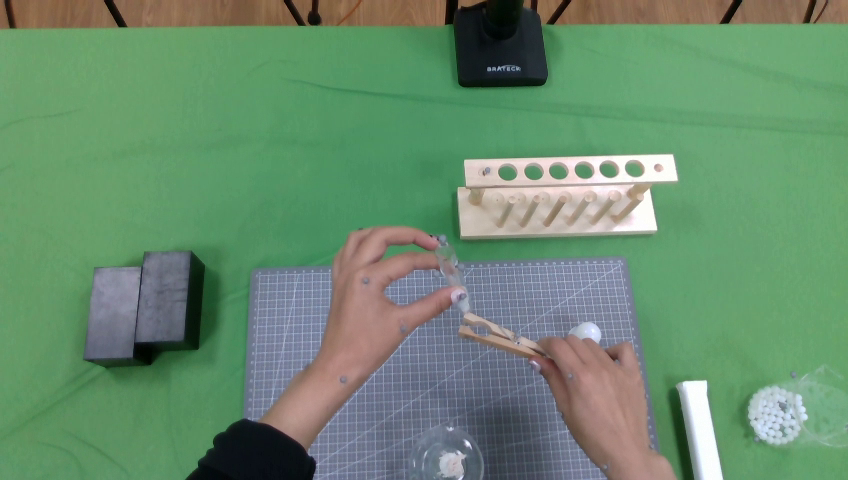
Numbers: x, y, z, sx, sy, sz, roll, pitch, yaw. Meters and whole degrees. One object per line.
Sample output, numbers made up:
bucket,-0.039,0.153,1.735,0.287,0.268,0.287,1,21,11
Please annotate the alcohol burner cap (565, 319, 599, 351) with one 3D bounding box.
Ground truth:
alcohol burner cap,0.182,0.106,0.685,0.034,0.048,0.033,1,71,-3

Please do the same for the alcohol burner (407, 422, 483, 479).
alcohol burner,0.022,0.218,0.597,0.078,0.120,0.077,1,68,-2

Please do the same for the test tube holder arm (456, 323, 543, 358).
test tube holder arm,0.075,0.100,0.601,0.087,0.015,0.010,15,68,6

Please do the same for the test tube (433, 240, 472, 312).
test tube,0.026,0.035,0.515,0.017,0.151,0.017,-4,67,9

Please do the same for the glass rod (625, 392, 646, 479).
glass rod,0.235,0.255,0.653,0.008,0.008,0.198,-2,70,-4

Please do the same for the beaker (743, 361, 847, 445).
beaker,0.397,0.177,0.645,0.074,0.101,0.083,11,69,1

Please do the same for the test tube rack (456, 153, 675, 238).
test tube rack,0.163,-0.052,0.720,0.242,0.085,0.066,-2,70,-4

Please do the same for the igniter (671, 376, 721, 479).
igniter,0.303,0.285,0.639,0.057,0.025,0.274,1,71,-14

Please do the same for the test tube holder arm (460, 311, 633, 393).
test tube holder arm,0.119,0.110,0.597,0.178,0.015,0.013,21,69,8
